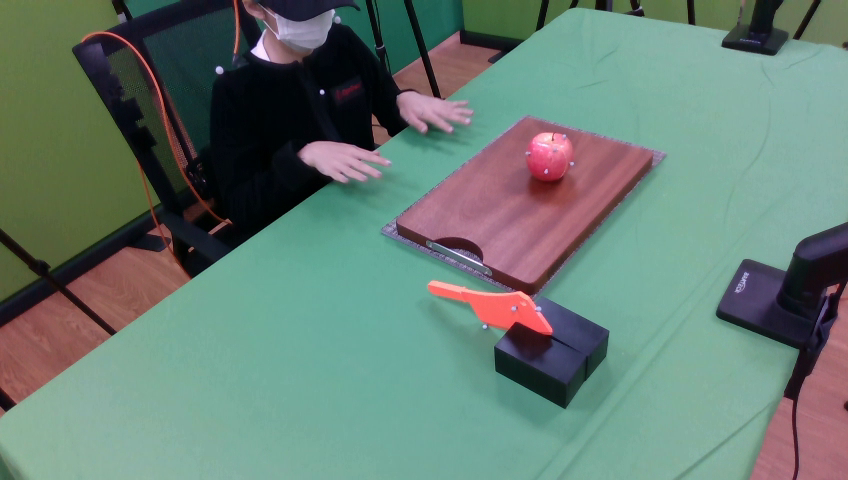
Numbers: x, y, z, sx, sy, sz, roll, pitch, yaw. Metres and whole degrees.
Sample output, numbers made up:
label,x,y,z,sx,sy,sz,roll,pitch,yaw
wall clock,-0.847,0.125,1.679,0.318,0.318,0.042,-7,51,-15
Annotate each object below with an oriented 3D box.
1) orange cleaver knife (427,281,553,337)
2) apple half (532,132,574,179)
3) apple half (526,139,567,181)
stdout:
label,x,y,z,sx,sy,sz,roll,pitch,yaw
orange cleaver knife,0.082,0.090,0.810,0.012,0.077,0.209,-42,28,-29
apple half,0.222,-0.147,1.031,0.080,0.075,0.053,20,44,35
apple half,0.198,-0.127,1.009,0.080,0.081,0.033,24,46,32
